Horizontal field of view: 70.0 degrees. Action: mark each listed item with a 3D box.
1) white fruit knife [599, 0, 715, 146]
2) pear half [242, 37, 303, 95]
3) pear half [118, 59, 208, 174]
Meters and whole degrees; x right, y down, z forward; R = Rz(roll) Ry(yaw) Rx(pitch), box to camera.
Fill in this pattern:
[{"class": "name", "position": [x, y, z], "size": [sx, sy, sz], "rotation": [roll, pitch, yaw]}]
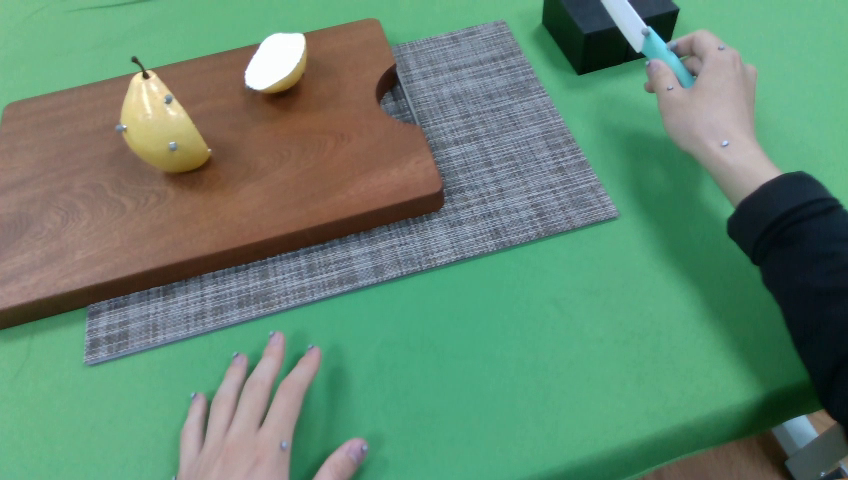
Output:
[{"class": "white fruit knife", "position": [0.199, -0.176, 0.547], "size": [0.016, 0.027, 0.206], "rotation": [-19, 72, -33]}, {"class": "pear half", "position": [-0.146, -0.170, 0.603], "size": [0.070, 0.031, 0.087], "rotation": [-24, 43, 6]}, {"class": "pear half", "position": [-0.234, -0.102, 0.515], "size": [0.075, 0.111, 0.056], "rotation": [34, 63, 30]}]
